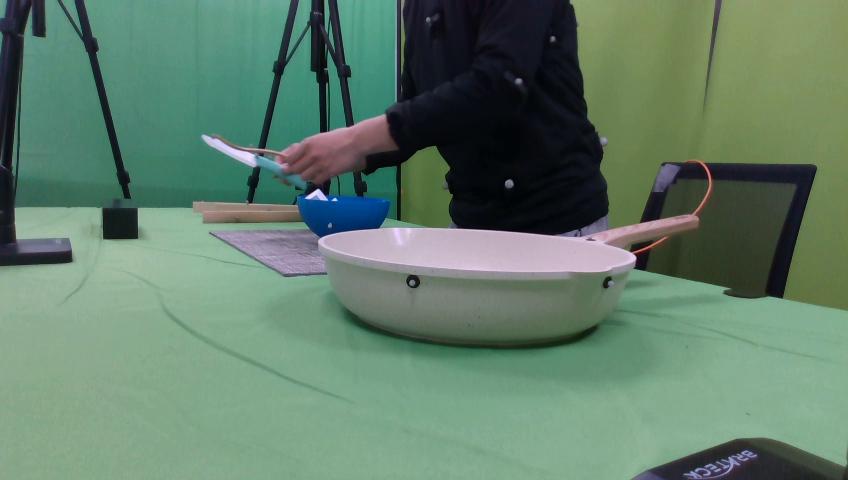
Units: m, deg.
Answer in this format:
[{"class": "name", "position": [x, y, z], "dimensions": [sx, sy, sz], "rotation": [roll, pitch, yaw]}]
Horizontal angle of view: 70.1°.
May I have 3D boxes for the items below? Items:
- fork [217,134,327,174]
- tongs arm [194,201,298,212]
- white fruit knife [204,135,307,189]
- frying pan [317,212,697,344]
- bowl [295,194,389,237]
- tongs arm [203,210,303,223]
[{"class": "fork", "position": [-0.264, -0.149, 1.071], "dimensions": [0.208, 0.018, 0.028], "rotation": [12, 16, -33]}, {"class": "tongs arm", "position": [-0.335, -0.072, 1.424], "dimensions": [0.387, 0.026, 0.050], "rotation": [0, 9, -24]}, {"class": "white fruit knife", "position": [-0.311, -0.149, 1.135], "dimensions": [0.208, 0.027, 0.016], "rotation": [24, -16, -28]}, {"class": "frying pan", "position": [0.133, 0.013, 0.629], "dimensions": [0.490, 0.102, 0.305], "rotation": [-12, 14, -31]}, {"class": "bowl", "position": [-0.132, -0.032, 0.980], "dimensions": [0.151, 0.077, 0.151], "rotation": [2, 7, 0]}, {"class": "tongs arm", "position": [-0.298, -0.056, 1.354], "dimensions": [0.390, 0.028, 0.028], "rotation": [-3, 7, -36]}]
